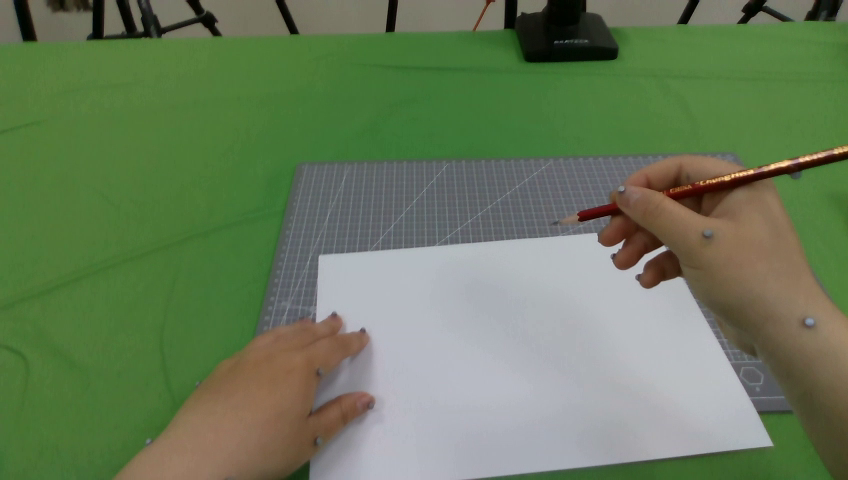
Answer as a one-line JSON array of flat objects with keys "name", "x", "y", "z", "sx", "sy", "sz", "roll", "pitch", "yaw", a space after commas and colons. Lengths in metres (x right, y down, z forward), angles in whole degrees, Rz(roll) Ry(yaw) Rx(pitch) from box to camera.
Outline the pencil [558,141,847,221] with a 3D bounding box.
[{"name": "pencil", "x": 0.155, "y": -0.031, "z": 0.315, "sx": 0.193, "sy": 0.012, "sz": 0.012, "roll": -15, "pitch": 31, "yaw": 40}]
